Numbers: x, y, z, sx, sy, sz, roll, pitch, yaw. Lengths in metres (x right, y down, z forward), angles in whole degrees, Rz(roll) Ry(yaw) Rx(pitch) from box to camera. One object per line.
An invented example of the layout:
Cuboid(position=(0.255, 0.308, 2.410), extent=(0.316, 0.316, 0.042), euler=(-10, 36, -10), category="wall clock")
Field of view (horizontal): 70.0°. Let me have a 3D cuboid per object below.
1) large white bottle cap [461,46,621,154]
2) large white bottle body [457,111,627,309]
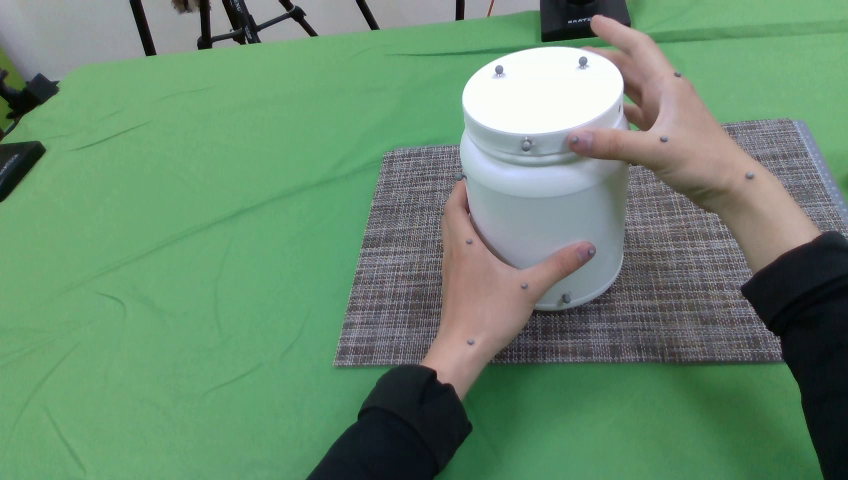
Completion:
Cuboid(position=(0.083, -0.105, 0.440), extent=(0.115, 0.018, 0.113), euler=(-7, 45, 7), category="large white bottle cap")
Cuboid(position=(0.098, -0.046, 0.501), extent=(0.130, 0.186, 0.129), euler=(-7, 45, 8), category="large white bottle body")
